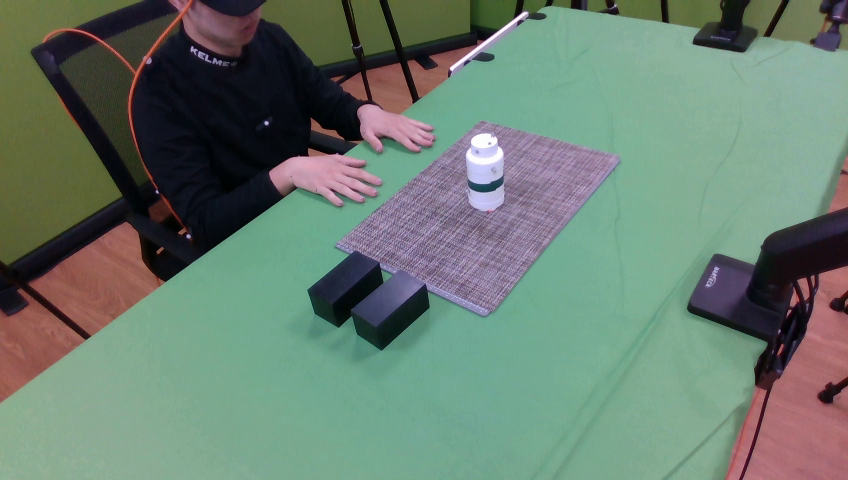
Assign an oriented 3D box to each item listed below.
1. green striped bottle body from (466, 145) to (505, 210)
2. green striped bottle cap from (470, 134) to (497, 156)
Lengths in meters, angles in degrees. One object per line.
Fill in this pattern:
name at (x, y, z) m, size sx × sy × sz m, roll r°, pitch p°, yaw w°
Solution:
green striped bottle body at (0.102, -0.113, 1.005) m, size 0.063 × 0.120 × 0.063 m, roll -4°, pitch 41°, yaw 4°
green striped bottle cap at (0.096, -0.152, 0.971) m, size 0.044 × 0.020 × 0.044 m, roll -3°, pitch 38°, yaw 3°
